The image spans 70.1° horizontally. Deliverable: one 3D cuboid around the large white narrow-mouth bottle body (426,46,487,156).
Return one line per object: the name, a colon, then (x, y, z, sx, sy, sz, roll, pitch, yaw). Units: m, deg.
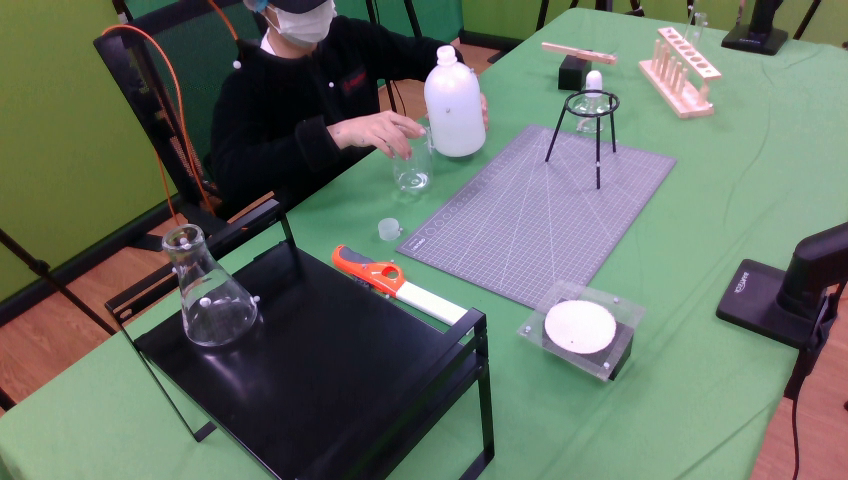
large white narrow-mouth bottle body: (0.056, -0.258, 1.111, 0.102, 0.195, 0.101, -7, 39, 7)

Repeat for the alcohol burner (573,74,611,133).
alcohol burner: (0.330, -0.270, 1.176, 0.078, 0.119, 0.077, -4, 43, 4)

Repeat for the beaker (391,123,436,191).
beaker: (-0.017, -0.144, 1.063, 0.074, 0.100, 0.083, -8, 45, -4)

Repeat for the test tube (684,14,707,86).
test tube: (0.541, -0.379, 1.216, 0.017, 0.151, 0.017, -2, 44, 2)

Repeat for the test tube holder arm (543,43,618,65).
test tube holder arm: (0.345, -0.413, 1.341, 0.177, 0.015, 0.013, 25, 50, 31)

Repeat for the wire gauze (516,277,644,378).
wire gauze: (0.197, 0.103, 0.765, 0.124, 0.011, 0.122, 23, 50, 32)

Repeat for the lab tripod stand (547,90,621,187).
lab tripod stand: (0.289, -0.184, 1.062, 0.148, 0.132, 0.147, -6, 41, 6)

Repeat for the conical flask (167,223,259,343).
conical flask: (-0.220, 0.041, 0.613, 0.075, 0.122, 0.075, -5, 40, 5)

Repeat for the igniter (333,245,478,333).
igniter: (-0.038, 0.068, 0.905, 0.274, 0.025, 0.057, 24, 60, 32)

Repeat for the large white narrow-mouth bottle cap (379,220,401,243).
large white narrow-mouth bottle cap: (-0.057, -0.015, 1.012, 0.038, 0.024, 0.037, -4, 40, 4)

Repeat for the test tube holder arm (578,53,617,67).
test tube holder arm: (0.376, -0.393, 1.314, 0.087, 0.015, 0.010, 26, 51, 32)

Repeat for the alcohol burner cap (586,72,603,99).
alcohol burner cap: (0.325, -0.297, 1.154, 0.034, 0.048, 0.033, -8, 35, 6)

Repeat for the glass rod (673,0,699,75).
glass rod: (0.541, -0.427, 1.246, 0.008, 0.200, 0.008, 0, 48, 1)

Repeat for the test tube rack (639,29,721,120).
test tube rack: (0.527, -0.351, 1.262, 0.067, 0.085, 0.241, -8, 40, 1)
